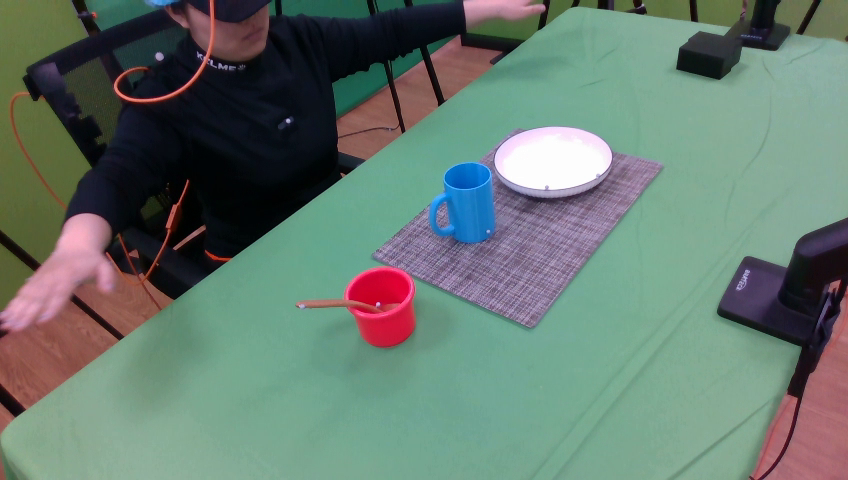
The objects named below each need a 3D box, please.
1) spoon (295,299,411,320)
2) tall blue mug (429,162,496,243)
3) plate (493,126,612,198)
[{"bbox_3d":[-0.090,0.089,0.805,0.195,0.021,0.041,15,12,-47],"label":"spoon"},{"bbox_3d":[0.066,-0.051,0.960,0.077,0.108,0.107,17,47,27],"label":"tall blue mug"},{"bbox_3d":[0.229,-0.136,1.085,0.207,0.039,0.206,-5,40,5],"label":"plate"}]
